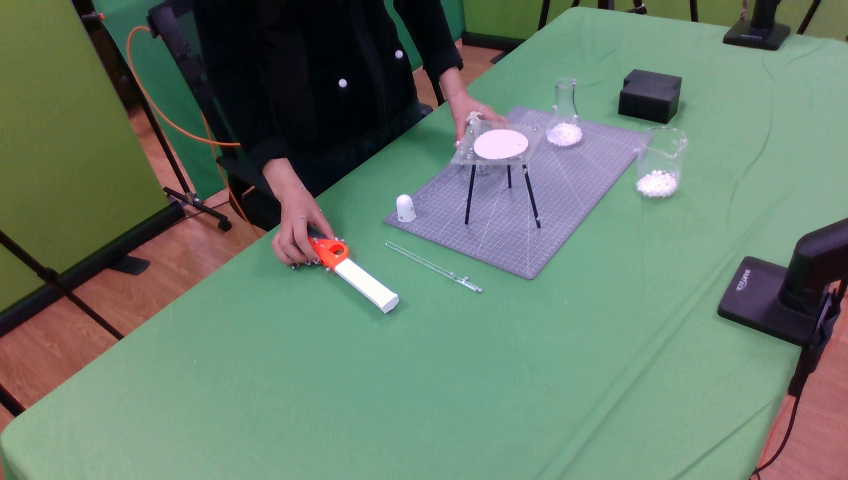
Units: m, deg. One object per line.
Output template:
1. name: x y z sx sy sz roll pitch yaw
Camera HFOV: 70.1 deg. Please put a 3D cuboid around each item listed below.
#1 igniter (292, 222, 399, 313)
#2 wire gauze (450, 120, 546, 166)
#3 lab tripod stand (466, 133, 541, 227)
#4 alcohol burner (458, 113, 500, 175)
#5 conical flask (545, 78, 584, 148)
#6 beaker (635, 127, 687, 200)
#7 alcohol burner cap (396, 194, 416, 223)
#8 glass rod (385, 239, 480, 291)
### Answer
1. igniter: -0.135 0.036 0.963 0.057 0.025 0.274 -35 46 -23
2. wire gauze: 0.117 -0.151 0.943 0.121 0.011 0.125 9 43 21
3. lab tripod stand: 0.129 -0.099 0.985 0.148 0.132 0.147 -7 38 6
4. alcohol burner: 0.098 -0.179 1.102 0.078 0.120 0.077 -6 41 6
5. conical flask: 0.264 -0.241 1.135 0.075 0.122 0.075 -6 40 5
6. beaker: 0.388 -0.122 0.994 0.074 0.101 0.083 -8 40 2
7. alcohol burner cap: -0.032 -0.056 1.036 0.034 0.048 0.033 -6 41 6
8. glass rod: 0.009 0.037 0.949 0.198 0.008 0.008 27 52 34
